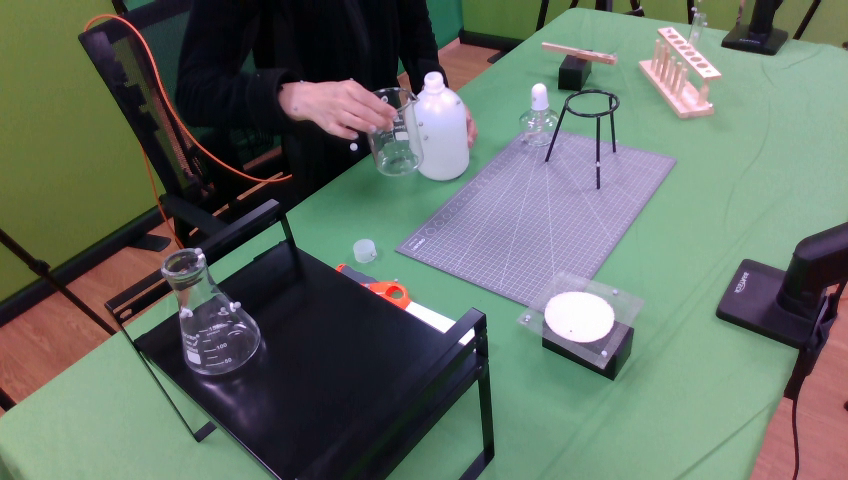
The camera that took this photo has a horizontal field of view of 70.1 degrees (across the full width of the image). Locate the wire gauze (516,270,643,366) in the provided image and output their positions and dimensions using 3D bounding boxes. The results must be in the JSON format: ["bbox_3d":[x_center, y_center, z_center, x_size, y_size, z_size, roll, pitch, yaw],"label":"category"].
[{"bbox_3d":[0.200,0.093,0.777,0.124,0.011,0.122,23,49,32],"label":"wire gauze"}]

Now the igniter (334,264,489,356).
[{"bbox_3d":[-0.030,0.095,0.871,0.274,0.025,0.057,22,59,31],"label":"igniter"}]

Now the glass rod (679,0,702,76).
[{"bbox_3d":[0.543,-0.417,1.233,0.008,0.200,0.008,1,40,0],"label":"glass rod"}]

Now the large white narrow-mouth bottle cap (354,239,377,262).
[{"bbox_3d":[-0.095,0.017,0.981,0.038,0.024,0.037,-4,40,4],"label":"large white narrow-mouth bottle cap"}]

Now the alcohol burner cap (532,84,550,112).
[{"bbox_3d":[0.218,-0.268,1.133,0.034,0.048,0.033,-9,36,7],"label":"alcohol burner cap"}]

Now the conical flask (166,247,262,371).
[{"bbox_3d":[-0.208,0.064,0.584,0.075,0.122,0.075,-5,40,4],"label":"conical flask"}]

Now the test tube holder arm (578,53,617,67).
[{"bbox_3d":[0.376,-0.393,1.314,0.087,0.015,0.010,26,51,32],"label":"test tube holder arm"}]

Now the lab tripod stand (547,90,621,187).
[{"bbox_3d":[0.288,-0.184,1.062,0.148,0.132,0.147,-6,41,6],"label":"lab tripod stand"}]

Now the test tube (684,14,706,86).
[{"bbox_3d":[0.540,-0.378,1.215,0.017,0.151,0.017,-2,44,3],"label":"test tube"}]

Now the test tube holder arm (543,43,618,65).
[{"bbox_3d":[0.344,-0.413,1.340,0.177,0.015,0.013,25,51,31],"label":"test tube holder arm"}]

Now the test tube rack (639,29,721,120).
[{"bbox_3d":[0.527,-0.351,1.262,0.067,0.085,0.241,-8,40,1],"label":"test tube rack"}]

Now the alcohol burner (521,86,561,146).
[{"bbox_3d":[0.223,-0.241,1.155,0.078,0.119,0.077,-5,42,5],"label":"alcohol burner"}]

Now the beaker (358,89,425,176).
[{"bbox_3d":[-0.038,-0.145,0.824,0.084,0.101,0.073,-9,39,5],"label":"beaker"}]

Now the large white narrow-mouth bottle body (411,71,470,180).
[{"bbox_3d":[0.028,-0.208,1.080,0.102,0.195,0.101,-4,45,4],"label":"large white narrow-mouth bottle body"}]
